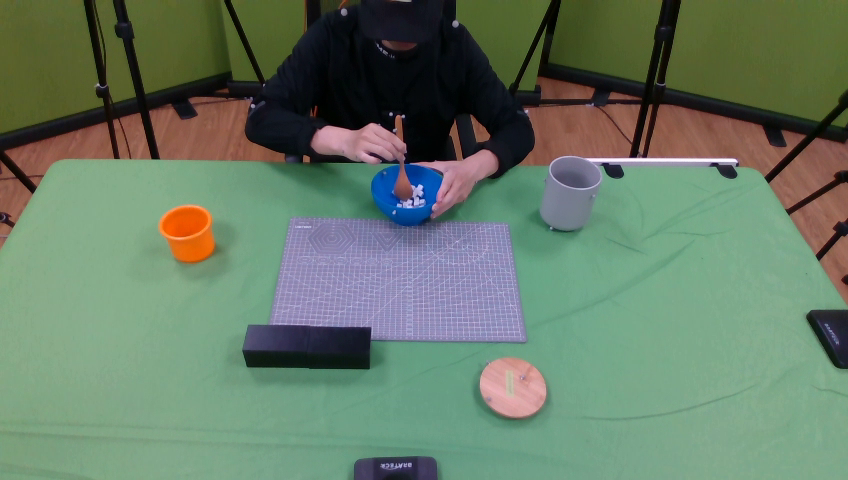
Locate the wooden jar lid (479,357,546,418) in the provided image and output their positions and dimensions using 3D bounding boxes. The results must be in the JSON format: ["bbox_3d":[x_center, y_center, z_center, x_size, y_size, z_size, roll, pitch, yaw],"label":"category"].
[{"bbox_3d":[0.142,0.240,0.979,0.108,0.021,0.107,1,46,-1],"label":"wooden jar lid"}]

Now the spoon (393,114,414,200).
[{"bbox_3d":[-0.046,-0.158,1.186,0.041,0.194,0.021,2,35,8],"label":"spoon"}]

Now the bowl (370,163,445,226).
[{"bbox_3d":[-0.035,-0.082,1.232,0.151,0.077,0.150,2,42,-2],"label":"bowl"}]

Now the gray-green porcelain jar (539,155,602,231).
[{"bbox_3d":[0.294,-0.091,1.235,0.106,0.127,0.105,2,46,-2],"label":"gray-green porcelain jar"}]
